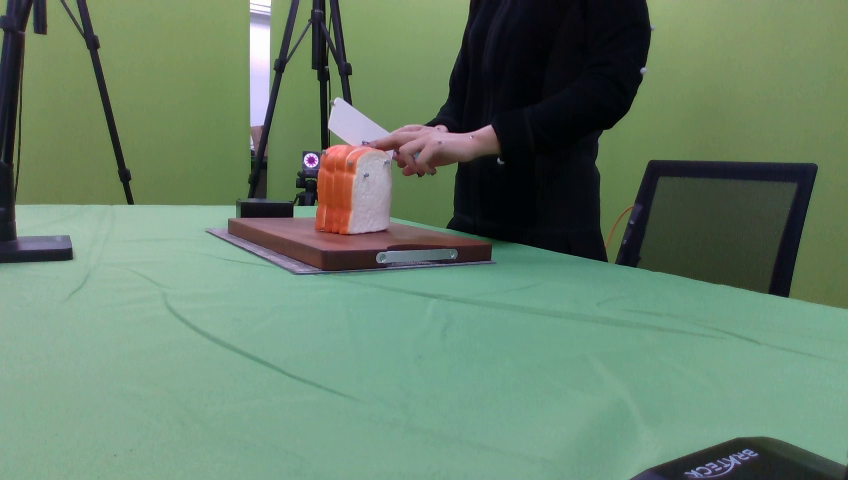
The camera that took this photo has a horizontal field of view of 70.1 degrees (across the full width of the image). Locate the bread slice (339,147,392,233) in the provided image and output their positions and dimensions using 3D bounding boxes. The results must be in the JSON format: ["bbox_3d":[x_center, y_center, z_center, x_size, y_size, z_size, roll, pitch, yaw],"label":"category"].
[{"bbox_3d":[-0.086,-0.075,0.917,0.019,0.131,0.105,13,14,33],"label":"bread slice"}]

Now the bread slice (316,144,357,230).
[{"bbox_3d":[-0.124,-0.083,0.947,0.018,0.134,0.107,6,4,34],"label":"bread slice"}]

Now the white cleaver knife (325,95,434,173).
[{"bbox_3d":[-0.068,-0.158,1.009,0.021,0.066,0.288,4,-10,35],"label":"white cleaver knife"}]
